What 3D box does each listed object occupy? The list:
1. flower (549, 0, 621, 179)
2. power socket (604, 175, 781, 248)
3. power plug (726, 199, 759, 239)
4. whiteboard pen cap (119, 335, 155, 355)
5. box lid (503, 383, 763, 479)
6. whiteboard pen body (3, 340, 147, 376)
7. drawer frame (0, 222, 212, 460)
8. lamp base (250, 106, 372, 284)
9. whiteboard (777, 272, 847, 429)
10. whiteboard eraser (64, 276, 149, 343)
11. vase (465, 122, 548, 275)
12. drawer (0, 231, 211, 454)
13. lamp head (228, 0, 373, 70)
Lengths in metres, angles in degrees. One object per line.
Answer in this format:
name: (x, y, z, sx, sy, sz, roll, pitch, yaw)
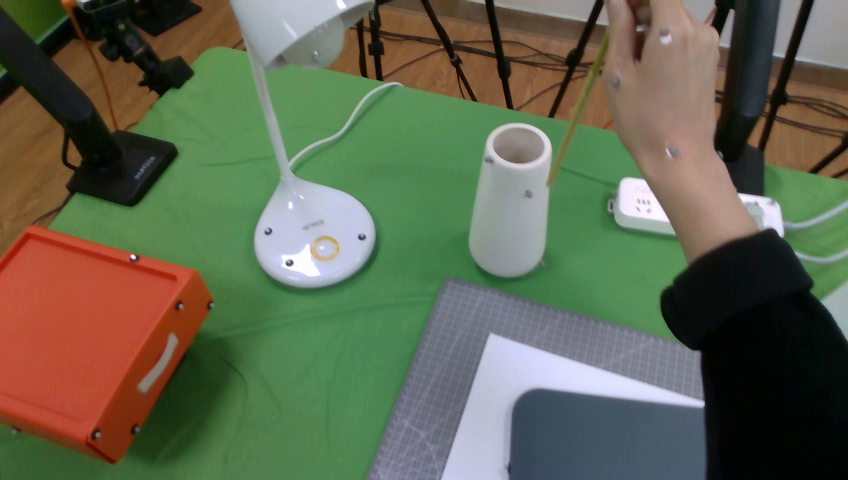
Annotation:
flower: (0.126, -0.150, 0.415, 0.044, 0.364, 0.038, 5, 60, 1)
power socket: (0.361, -0.039, 0.817, 0.226, 0.033, 0.071, 10, 55, 8)
power plug: (0.404, -0.022, 0.774, 0.035, 0.053, 0.072, 19, 58, 15)
whiteboard pen cap: (-0.310, 0.114, 0.656, 0.033, 0.018, 0.018, -10, 54, -10)
box lid: (0.202, 0.316, 0.570, 0.263, 0.015, 0.368, 6, 55, 5)
whiteboard pen body: (-0.368, 0.123, 0.642, 0.141, 0.017, 0.017, -10, 54, -9)
drawer frame: (-0.377, 0.100, 0.645, 0.213, 0.083, 0.200, 14, 56, 10)
lamp base: (-0.159, -0.063, 0.751, 0.160, 0.182, 0.177, -31, 56, -21)
whiteboard: (0.562, 0.088, 0.588, 0.144, 0.307, 0.215, 0, 51, -22)
whiteboard eraser: (-0.363, 0.082, 0.700, 0.112, 0.042, 0.055, -18, 60, 25)
vase: (0.099, -0.045, 0.722, 0.098, 0.202, 0.097, -1, 53, 2)
drawer: (-0.370, 0.097, 0.642, 0.211, 0.074, 0.193, 14, 56, 11)
lamp head: (-0.120, -0.219, 0.505, 0.112, 0.112, 0.123, -39, 100, -24)
